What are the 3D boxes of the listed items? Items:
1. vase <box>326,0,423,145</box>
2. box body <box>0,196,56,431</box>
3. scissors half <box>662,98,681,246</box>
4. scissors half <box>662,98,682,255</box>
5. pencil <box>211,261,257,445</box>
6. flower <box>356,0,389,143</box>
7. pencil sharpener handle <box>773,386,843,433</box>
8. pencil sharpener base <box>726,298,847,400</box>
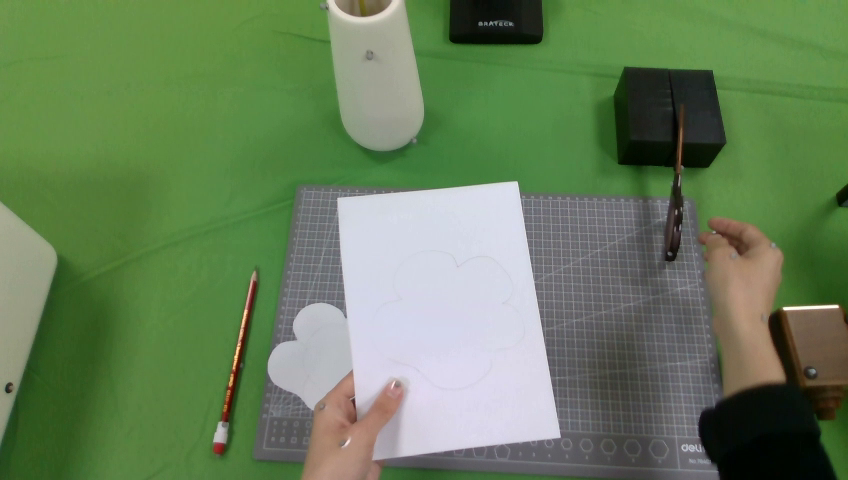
[{"bbox_3d":[-0.053,-0.189,0.642,0.098,0.201,0.097,-1,65,2],"label":"vase"},{"bbox_3d":[-0.524,0.119,0.534,0.254,0.161,0.361,2,66,2],"label":"box body"},{"bbox_3d":[0.262,-0.075,0.631,0.013,0.040,0.174,7,66,14],"label":"scissors half"},{"bbox_3d":[0.268,-0.070,0.649,0.012,0.040,0.175,6,84,20],"label":"scissors half"},{"bbox_3d":[-0.190,0.109,0.618,0.012,0.012,0.192,4,64,3],"label":"pencil"},{"bbox_3d":[-0.062,-0.236,0.572,0.044,0.365,0.038,-5,48,3],"label":"flower"},{"bbox_3d":[0.331,0.147,0.522,0.036,0.068,0.030,4,65,-13],"label":"pencil sharpener handle"},{"bbox_3d":[0.334,0.106,0.554,0.061,0.108,0.076,-2,66,0],"label":"pencil sharpener base"}]
